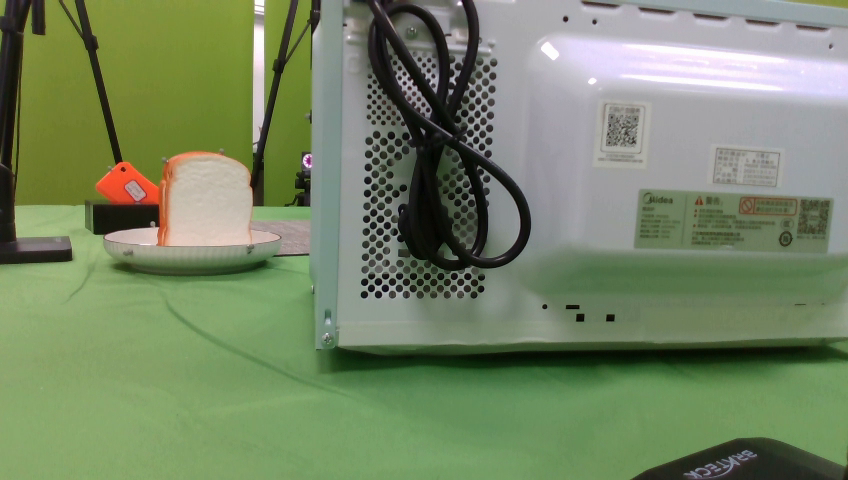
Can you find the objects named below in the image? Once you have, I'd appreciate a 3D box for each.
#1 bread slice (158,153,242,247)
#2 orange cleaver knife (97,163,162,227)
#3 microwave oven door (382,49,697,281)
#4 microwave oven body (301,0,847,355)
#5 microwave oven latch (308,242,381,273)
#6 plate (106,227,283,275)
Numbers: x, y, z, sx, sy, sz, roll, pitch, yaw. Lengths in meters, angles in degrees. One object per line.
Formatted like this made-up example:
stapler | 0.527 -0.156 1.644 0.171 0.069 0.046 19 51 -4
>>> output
bread slice | -0.287 -0.045 0.788 0.107 0.134 0.018 2 8 -35
orange cleaver knife | -0.472 -0.062 1.087 0.212 0.077 0.012 33 -14 -36
microwave oven door | 0.135 -0.077 0.685 0.357 0.243 0.039 1 8 -12
microwave oven body | 0.120 -0.053 0.535 0.443 0.260 0.325 2 7 -11
microwave oven latch | -0.086 0.019 0.656 0.079 0.029 0.030 2 7 -11
plate | -0.288 0.013 0.772 0.208 0.039 0.207 2 7 0
